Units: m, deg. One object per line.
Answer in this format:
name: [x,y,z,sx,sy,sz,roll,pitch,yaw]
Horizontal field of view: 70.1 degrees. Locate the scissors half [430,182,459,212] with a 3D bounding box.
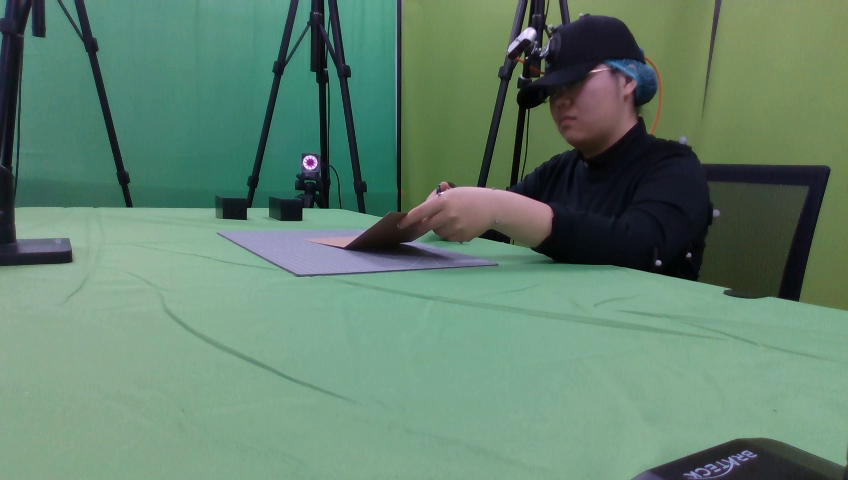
scissors half: [0.017,-0.058,1.082,0.013,0.040,0.175,-25,18,42]

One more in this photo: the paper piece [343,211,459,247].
paper piece: [-0.036,-0.018,0.930,0.137,0.008,0.137,-8,-15,-40]

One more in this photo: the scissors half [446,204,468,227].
scissors half: [0.026,-0.038,1.084,0.012,0.040,0.176,-18,-4,41]

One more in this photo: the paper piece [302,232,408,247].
paper piece: [-0.118,-0.001,1.029,0.136,0.004,0.134,-6,10,-40]
